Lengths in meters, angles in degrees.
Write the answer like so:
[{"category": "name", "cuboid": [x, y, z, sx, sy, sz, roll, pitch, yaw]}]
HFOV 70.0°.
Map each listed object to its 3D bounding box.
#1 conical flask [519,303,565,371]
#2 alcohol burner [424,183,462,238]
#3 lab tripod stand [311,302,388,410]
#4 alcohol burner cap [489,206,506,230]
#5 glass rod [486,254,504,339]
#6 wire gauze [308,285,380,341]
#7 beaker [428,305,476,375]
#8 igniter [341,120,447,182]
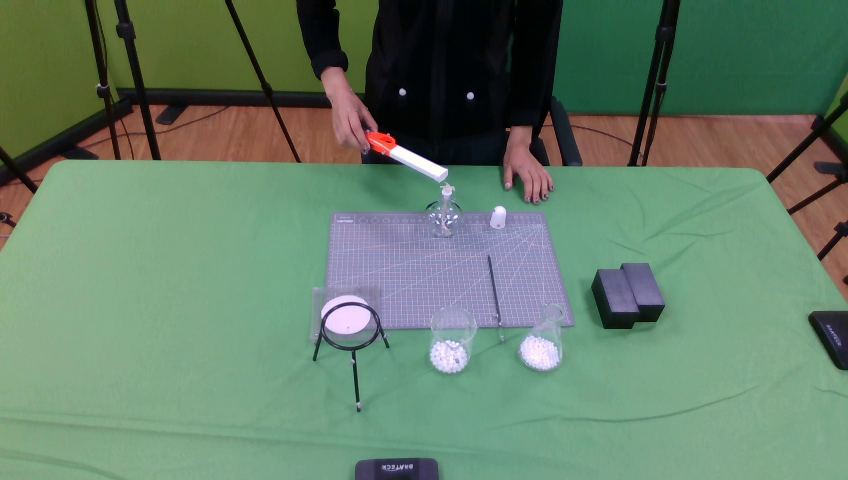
[{"category": "conical flask", "cuboid": [0.201, 0.155, 0.997, 0.075, 0.122, 0.075, 2, 46, -2]}, {"category": "alcohol burner", "cuboid": [0.039, -0.063, 1.197, 0.078, 0.119, 0.077, 2, 44, -2]}, {"category": "lab tripod stand", "cuboid": [-0.113, 0.168, 0.951, 0.148, 0.132, 0.147, 2, 44, -2]}, {"category": "alcohol burner cap", "cuboid": [0.152, -0.047, 1.241, 0.034, 0.048, 0.033, 2, 45, -2]}, {"category": "glass rod", "cuboid": [0.129, 0.099, 1.119, 0.008, 0.008, 0.198, -1, 47, -4]}, {"category": "wire gauze", "cuboid": [-0.141, 0.128, 1.071, 0.125, 0.011, 0.120, -1, 46, -5]}, {"category": "beaker", "cuboid": [0.044, 0.168, 0.987, 0.074, 0.101, 0.083, 1, 47, -3]}, {"category": "igniter", "cuboid": [-0.069, -0.183, 1.219, 0.275, 0.025, 0.057, 30, 51, 28]}]
